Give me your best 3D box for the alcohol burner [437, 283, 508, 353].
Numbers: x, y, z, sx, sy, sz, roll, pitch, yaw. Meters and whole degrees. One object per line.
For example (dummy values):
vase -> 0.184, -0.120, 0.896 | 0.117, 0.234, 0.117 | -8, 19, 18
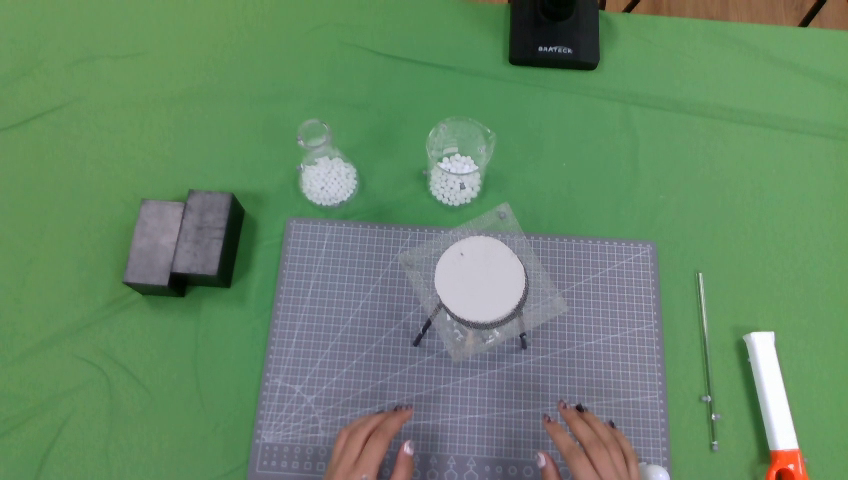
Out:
alcohol burner -> 0.053, 0.078, 0.646 | 0.078, 0.120, 0.077 | 1, 69, -2

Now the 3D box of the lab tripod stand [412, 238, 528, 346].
lab tripod stand -> 0.051, 0.065, 0.640 | 0.148, 0.132, 0.147 | 0, 72, -1

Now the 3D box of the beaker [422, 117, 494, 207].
beaker -> 0.038, -0.089, 0.715 | 0.084, 0.101, 0.073 | -22, 72, -9

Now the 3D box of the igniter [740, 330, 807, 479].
igniter -> 0.384, 0.233, 0.647 | 0.057, 0.025, 0.274 | 2, 70, -12

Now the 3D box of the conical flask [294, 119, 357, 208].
conical flask -> -0.120, -0.092, 0.700 | 0.075, 0.122, 0.075 | 0, 70, -1

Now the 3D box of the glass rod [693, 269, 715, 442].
glass rod -> 0.320, 0.127, 0.693 | 0.008, 0.008, 0.198 | 4, 71, 0

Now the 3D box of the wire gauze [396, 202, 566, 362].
wire gauze -> 0.054, 0.038, 0.577 | 0.125, 0.011, 0.120 | -25, 74, -8

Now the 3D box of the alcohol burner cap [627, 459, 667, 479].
alcohol burner cap -> 0.234, 0.245, 0.629 | 0.034, 0.048, 0.033 | 1, 70, -1
